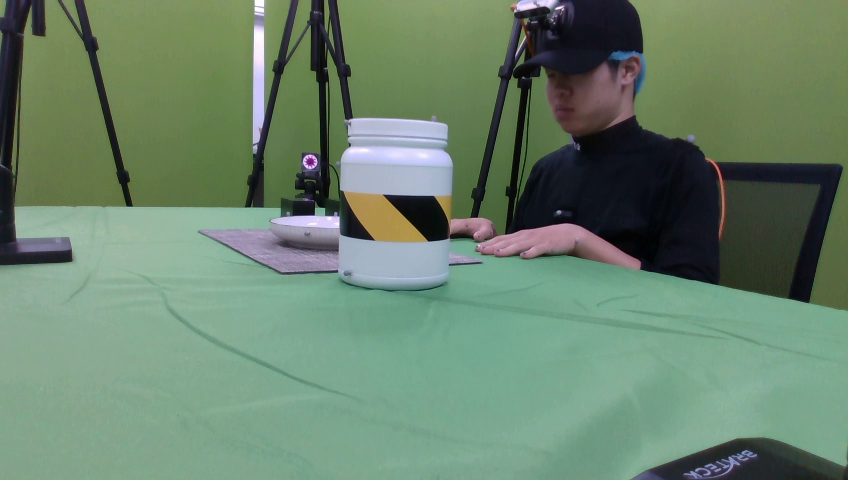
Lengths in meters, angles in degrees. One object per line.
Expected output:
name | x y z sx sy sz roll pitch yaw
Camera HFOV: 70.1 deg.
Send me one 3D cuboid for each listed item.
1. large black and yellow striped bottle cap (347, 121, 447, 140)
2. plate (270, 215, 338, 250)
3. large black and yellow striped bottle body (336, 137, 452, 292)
large black and yellow striped bottle cap | -0.031 -0.124 0.691 0.115 0.019 0.115 1 7 0
plate | -0.145 -0.013 0.992 0.208 0.039 0.207 2 7 0
large black and yellow striped bottle body | -0.034 -0.041 0.703 0.131 0.184 0.130 3 7 0
